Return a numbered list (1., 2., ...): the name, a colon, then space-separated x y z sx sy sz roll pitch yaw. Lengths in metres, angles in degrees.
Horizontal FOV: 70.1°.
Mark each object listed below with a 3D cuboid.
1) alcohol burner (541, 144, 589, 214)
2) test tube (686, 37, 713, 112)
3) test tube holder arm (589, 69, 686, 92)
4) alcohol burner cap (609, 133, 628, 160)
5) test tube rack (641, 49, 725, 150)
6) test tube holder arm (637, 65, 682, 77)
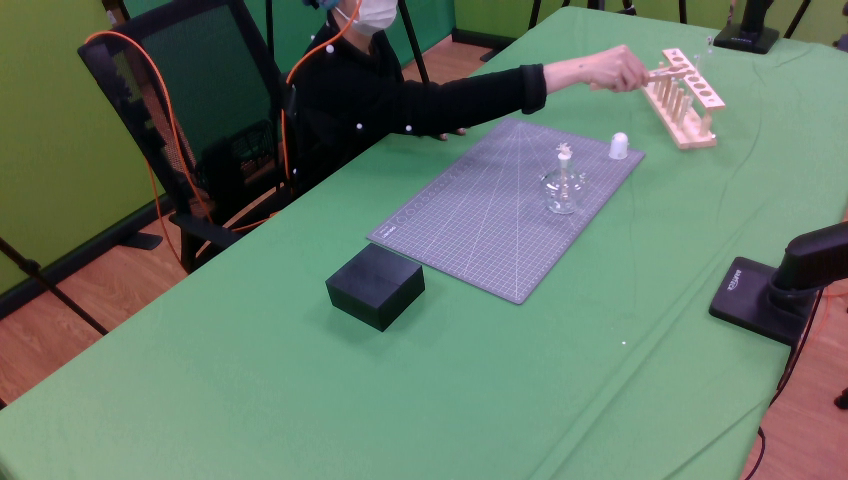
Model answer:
1. alcohol burner: 0.229 -0.102 0.983 0.078 0.119 0.077 -6 41 5
2. test tube: 0.509 -0.306 1.128 0.017 0.151 0.017 -1 45 1
3. test tube holder arm: 0.376 -0.281 1.066 0.179 0.015 0.013 -11 49 -8
4. alcohol burner cap: 0.356 -0.172 1.100 0.034 0.048 0.033 -5 41 5
5. test tube rack: 0.495 -0.279 1.175 0.067 0.085 0.241 -5 41 3
6. test tube holder arm: 0.418 -0.295 1.077 0.088 0.015 0.010 -15 50 -12
